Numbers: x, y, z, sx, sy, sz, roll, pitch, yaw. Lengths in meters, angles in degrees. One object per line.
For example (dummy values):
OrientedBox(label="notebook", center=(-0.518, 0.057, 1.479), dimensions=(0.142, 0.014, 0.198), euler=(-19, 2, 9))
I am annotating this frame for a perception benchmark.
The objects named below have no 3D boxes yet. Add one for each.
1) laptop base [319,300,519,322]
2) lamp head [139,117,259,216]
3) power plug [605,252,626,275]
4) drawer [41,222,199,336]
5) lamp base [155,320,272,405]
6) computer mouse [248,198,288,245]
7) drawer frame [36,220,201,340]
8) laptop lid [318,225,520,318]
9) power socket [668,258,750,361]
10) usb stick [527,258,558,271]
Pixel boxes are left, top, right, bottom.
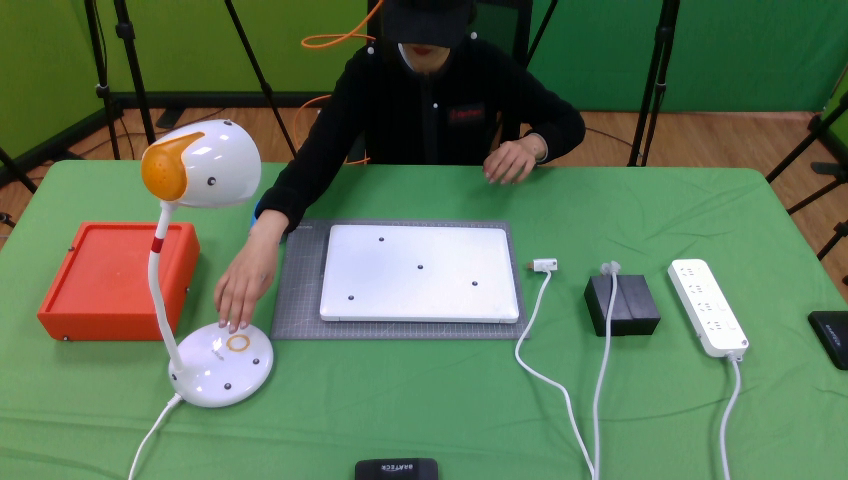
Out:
OrientedBox(label="laptop base", center=(-0.009, 0.062, 1.137), dimensions=(0.354, 0.023, 0.234), euler=(1, 42, -3))
OrientedBox(label="lamp head", center=(-0.281, -0.086, 0.734), dimensions=(0.112, 0.113, 0.123), euler=(21, 25, 16))
OrientedBox(label="power plug", center=(0.367, 0.040, 1.128), dimensions=(0.035, 0.072, 0.052), euler=(39, 59, -10))
OrientedBox(label="drawer", center=(-0.519, 0.064, 1.058), dimensions=(0.195, 0.073, 0.210), euler=(1, 47, -4))
OrientedBox(label="lamp base", center=(-0.330, 0.149, 0.918), dimensions=(0.160, 0.181, 0.179), euler=(26, 52, 20))
OrientedBox(label="computer mouse", center=(-0.309, -0.040, 1.205), dimensions=(0.063, 0.041, 0.116), euler=(4, 50, -3))
OrientedBox(label="drawer frame", center=(-0.518, 0.065, 1.055), dimensions=(0.202, 0.083, 0.212), euler=(0, 47, -5))
OrientedBox(label="laptop lid", center=(-0.009, 0.052, 1.131), dimensions=(0.357, 0.013, 0.240), euler=(2, 43, -2))
OrientedBox(label="power socket", center=(0.517, 0.118, 1.109), dimensions=(0.072, 0.033, 0.225), euler=(-2, 46, -4))
OrientedBox(label="usb stick", center=(0.226, 0.046, 1.158), dimensions=(0.059, 0.021, 0.027), euler=(-3, 8, 10))
